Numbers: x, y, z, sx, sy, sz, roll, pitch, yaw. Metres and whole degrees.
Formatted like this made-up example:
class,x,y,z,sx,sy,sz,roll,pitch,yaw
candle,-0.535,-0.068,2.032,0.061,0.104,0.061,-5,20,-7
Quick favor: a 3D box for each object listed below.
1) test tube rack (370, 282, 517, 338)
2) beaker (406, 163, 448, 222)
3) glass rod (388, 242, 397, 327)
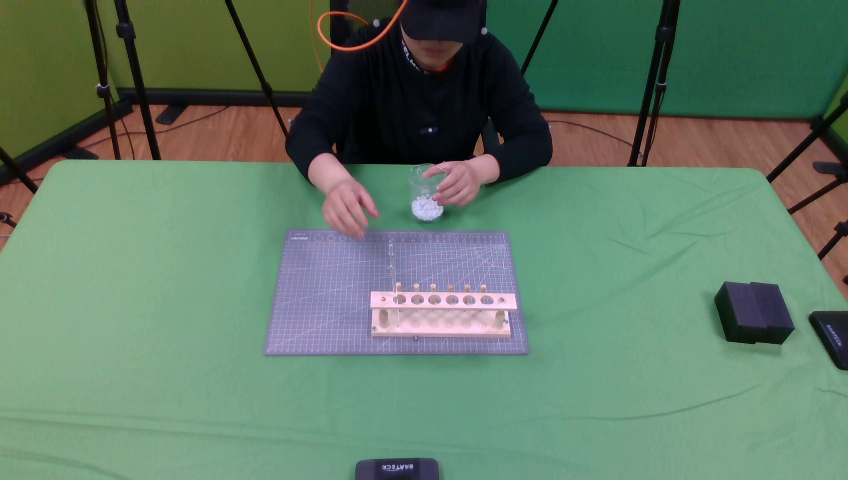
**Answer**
class,x,y,z,sx,sy,sz,roll,pitch,yaw
test tube rack,0.030,0.117,1.041,0.242,0.085,0.066,1,46,-3
beaker,0.008,-0.094,1.221,0.084,0.101,0.073,-16,49,-14
glass rod,-0.050,0.077,0.981,0.008,0.201,0.008,0,44,1
